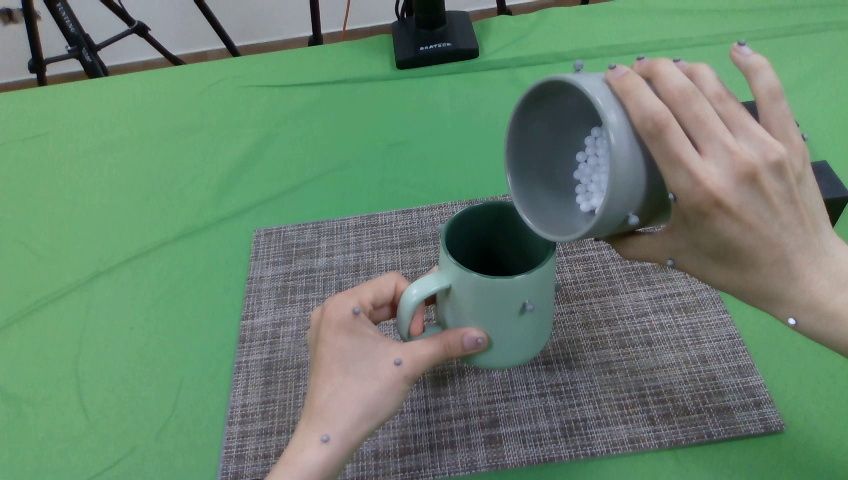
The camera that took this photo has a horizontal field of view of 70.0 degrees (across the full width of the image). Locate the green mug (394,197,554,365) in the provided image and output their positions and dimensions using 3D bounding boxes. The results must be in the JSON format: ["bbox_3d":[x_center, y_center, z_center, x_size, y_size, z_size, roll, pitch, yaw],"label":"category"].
[{"bbox_3d":[0.036,0.038,0.445,0.125,0.106,0.091,-22,49,-18],"label":"green mug"}]

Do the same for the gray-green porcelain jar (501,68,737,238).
[{"bbox_3d":[0.134,-0.061,0.409,0.127,0.106,0.104,-10,45,-28],"label":"gray-green porcelain jar"}]
